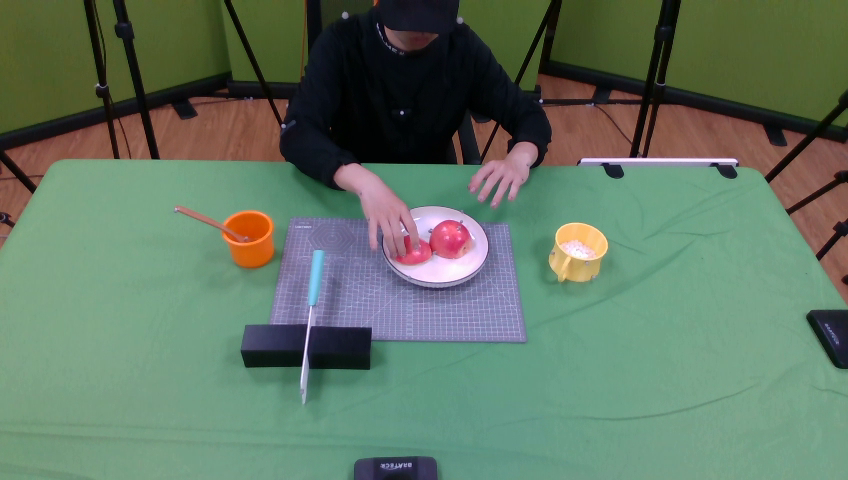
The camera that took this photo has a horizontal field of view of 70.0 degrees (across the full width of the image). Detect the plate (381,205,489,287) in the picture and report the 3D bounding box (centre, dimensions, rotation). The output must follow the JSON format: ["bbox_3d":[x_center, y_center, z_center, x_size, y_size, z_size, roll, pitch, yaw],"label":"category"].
[{"bbox_3d":[0.021,0.015,1.170,0.209,0.038,0.208,2,46,-2],"label":"plate"}]

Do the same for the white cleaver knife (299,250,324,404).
[{"bbox_3d":[-0.194,0.134,1.019,0.021,0.066,0.284,5,50,-5],"label":"white cleaver knife"}]

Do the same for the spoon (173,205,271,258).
[{"bbox_3d":[-0.362,-0.017,1.098,0.021,0.195,0.041,-32,42,27],"label":"spoon"}]

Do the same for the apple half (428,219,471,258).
[{"bbox_3d":[0.051,-0.008,1.173,0.081,0.053,0.074,-31,58,-31],"label":"apple half"}]

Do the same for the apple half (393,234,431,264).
[{"bbox_3d":[-0.023,0.010,1.158,0.081,0.033,0.081,3,39,-2],"label":"apple half"}]

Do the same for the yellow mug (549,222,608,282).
[{"bbox_3d":[0.287,0.031,1.159,0.099,0.064,0.130,27,51,21],"label":"yellow mug"}]
